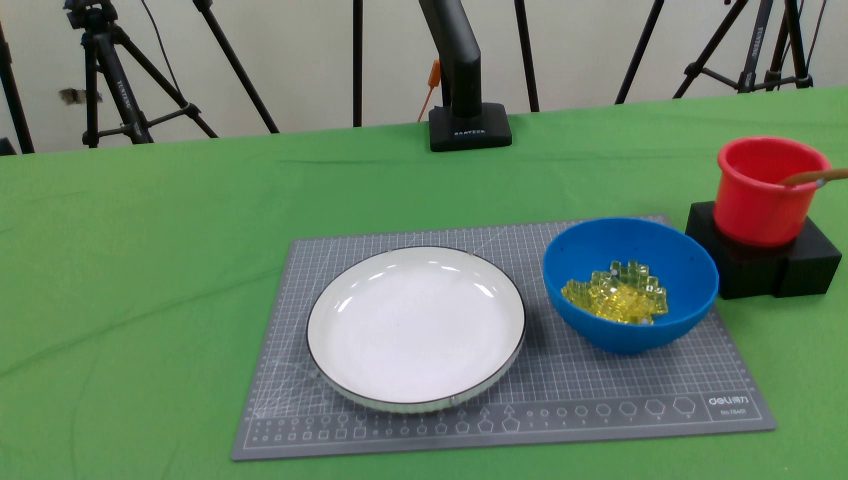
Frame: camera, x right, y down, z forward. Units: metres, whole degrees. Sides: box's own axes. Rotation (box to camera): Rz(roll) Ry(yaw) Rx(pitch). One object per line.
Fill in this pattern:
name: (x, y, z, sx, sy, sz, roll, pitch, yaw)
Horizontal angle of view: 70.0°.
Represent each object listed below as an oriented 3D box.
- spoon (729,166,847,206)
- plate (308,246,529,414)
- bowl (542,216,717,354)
spoon: (0.325, -0.049, 0.544, 0.041, 0.021, 0.194, 1, -5, 7)
plate: (-0.005, 0.084, 0.582, 0.207, 0.039, 0.205, -4, 38, 3)
bowl: (0.184, 0.052, 0.564, 0.151, 0.077, 0.150, -4, 38, 3)
